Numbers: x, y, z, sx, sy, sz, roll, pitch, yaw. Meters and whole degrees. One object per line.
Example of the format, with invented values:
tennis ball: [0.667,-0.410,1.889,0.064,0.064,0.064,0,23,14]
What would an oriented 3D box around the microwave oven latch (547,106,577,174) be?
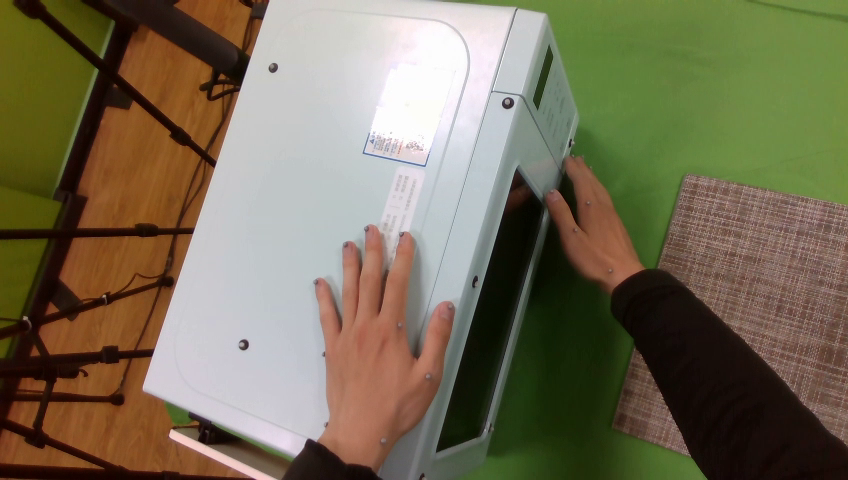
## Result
microwave oven latch: [0.161,-0.121,0.724,0.030,0.030,0.079,16,86,23]

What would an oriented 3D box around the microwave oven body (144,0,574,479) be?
microwave oven body: [-0.056,-0.005,0.679,0.324,0.262,0.441,15,85,22]

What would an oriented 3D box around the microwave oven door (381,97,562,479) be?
microwave oven door: [0.060,0.067,0.615,0.039,0.245,0.355,14,85,24]
